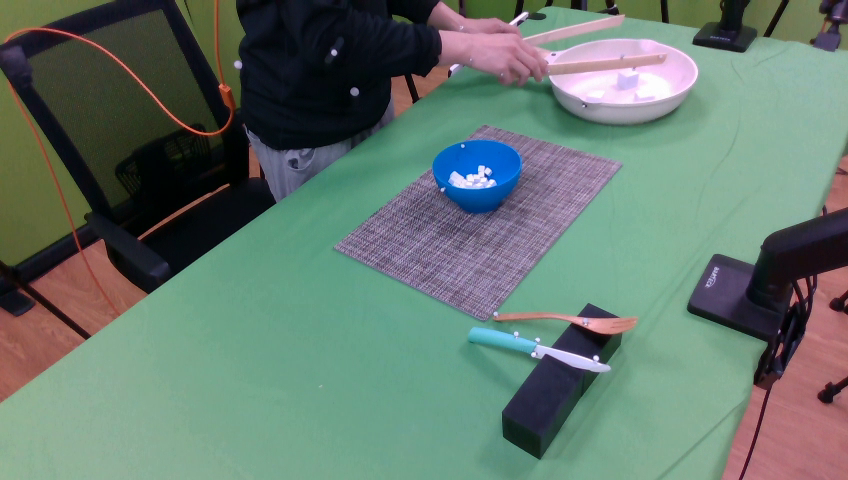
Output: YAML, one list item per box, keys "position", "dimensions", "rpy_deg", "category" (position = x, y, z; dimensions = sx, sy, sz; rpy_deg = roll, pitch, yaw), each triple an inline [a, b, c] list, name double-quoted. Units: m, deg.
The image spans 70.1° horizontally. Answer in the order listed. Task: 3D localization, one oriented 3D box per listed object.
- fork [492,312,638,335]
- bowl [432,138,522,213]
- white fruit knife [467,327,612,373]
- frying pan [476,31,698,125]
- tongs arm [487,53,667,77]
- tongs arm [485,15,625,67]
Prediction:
- position: [0.173, 0.103, 0.774]
  dimensions: [0.206, 0.019, 0.028]
  rpy_deg: [0, 38, 40]
  category: "fork"
- position: [0.091, -0.100, 1.021]
  dimensions: [0.151, 0.077, 0.150]
  rpy_deg: [-4, 41, 4]
  category: "bowl"
- position: [0.134, 0.134, 0.742]
  dimensions: [0.205, 0.027, 0.016]
  rpy_deg: [7, 34, 41]
  category: "white fruit knife"
- position: [0.321, -0.371, 1.290]
  dimensions: [0.484, 0.103, 0.307]
  rpy_deg: [29, 51, 24]
  category: "frying pan"
- position: [0.298, -0.340, 1.145]
  dimensions: [0.387, 0.026, 0.050]
  rpy_deg: [-13, 58, -22]
  category: "tongs arm"
- position: [0.264, -0.396, 1.182]
  dimensions: [0.389, 0.028, 0.028]
  rpy_deg: [-23, 66, -29]
  category: "tongs arm"
